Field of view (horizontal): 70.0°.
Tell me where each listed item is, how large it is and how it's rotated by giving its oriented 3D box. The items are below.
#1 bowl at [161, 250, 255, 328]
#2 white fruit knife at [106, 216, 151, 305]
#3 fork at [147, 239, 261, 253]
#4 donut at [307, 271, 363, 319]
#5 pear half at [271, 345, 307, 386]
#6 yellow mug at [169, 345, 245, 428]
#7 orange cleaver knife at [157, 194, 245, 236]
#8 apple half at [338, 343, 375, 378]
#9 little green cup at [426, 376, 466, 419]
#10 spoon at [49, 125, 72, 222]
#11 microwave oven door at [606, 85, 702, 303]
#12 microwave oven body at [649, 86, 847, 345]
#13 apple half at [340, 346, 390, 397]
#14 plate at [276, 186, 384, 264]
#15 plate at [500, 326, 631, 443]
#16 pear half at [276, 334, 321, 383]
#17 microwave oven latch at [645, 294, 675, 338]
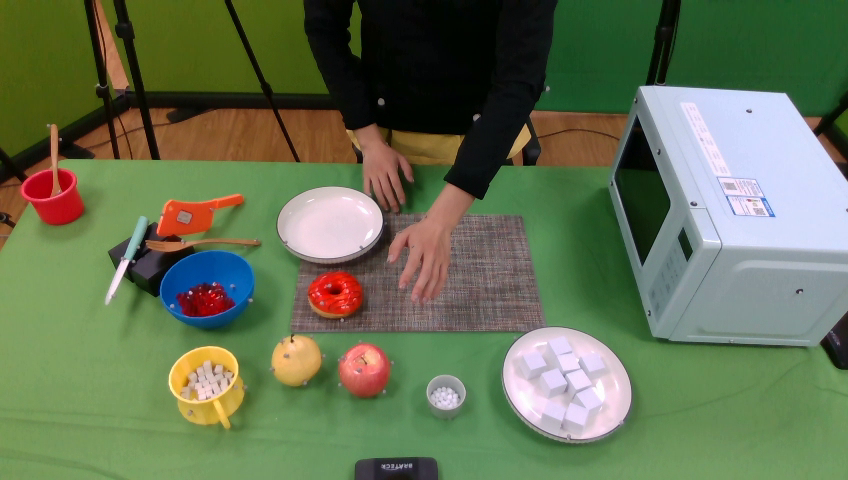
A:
[{"bbox_3d":[-0.362,0.097,1.040,0.151,0.077,0.150,2,45,-2],"label":"bowl"},{"bbox_3d":[-0.519,0.032,1.066,0.027,0.016,0.206,-18,45,19],"label":"white fruit knife"},{"bbox_3d":[-0.399,0.007,1.118,0.208,0.019,0.028,-4,38,-36],"label":"fork"},{"bbox_3d":[-0.157,0.097,1.072,0.099,0.048,0.098,4,45,-4],"label":"donut"},{"bbox_3d":[-0.216,0.200,0.943,0.070,0.088,0.031,27,49,15],"label":"pear half"},{"bbox_3d":[-0.322,0.230,0.922,0.100,0.064,0.130,-24,53,-25],"label":"yellow mug"},{"bbox_3d":[-0.427,-0.050,1.175,0.012,0.077,0.211,22,19,20],"label":"orange cleaver knife"},{"bbox_3d":[-0.112,0.192,0.968,0.081,0.081,0.032,-32,59,-29],"label":"apple half"},{"bbox_3d":[0.033,0.248,0.950,0.061,0.039,0.061,2,46,-2],"label":"little green cup"},{"bbox_3d":[-0.717,-0.131,1.189,0.041,0.021,0.193,-3,90,-7],"label":"spoon"},{"bbox_3d":[0.422,-0.094,1.140,0.039,0.245,0.353,2,46,-1],"label":"microwave oven door"},{"bbox_3d":[0.568,-0.053,1.118,0.326,0.261,0.439,2,45,-1],"label":"microwave oven body"},{"bbox_3d":[-0.085,0.214,0.950,0.081,0.075,0.053,-29,58,-32],"label":"apple half"},{"bbox_3d":[-0.184,-0.027,1.195,0.209,0.038,0.208,2,46,-2],"label":"plate"},{"bbox_3d":[0.224,0.234,0.978,0.208,0.039,0.206,2,46,-2],"label":"plate"},{"bbox_3d":[-0.195,0.172,0.957,0.076,0.110,0.056,28,51,16],"label":"pear half"},{"bbox_3d":[0.411,0.134,1.061,0.030,0.029,0.078,3,45,0],"label":"microwave oven latch"}]
